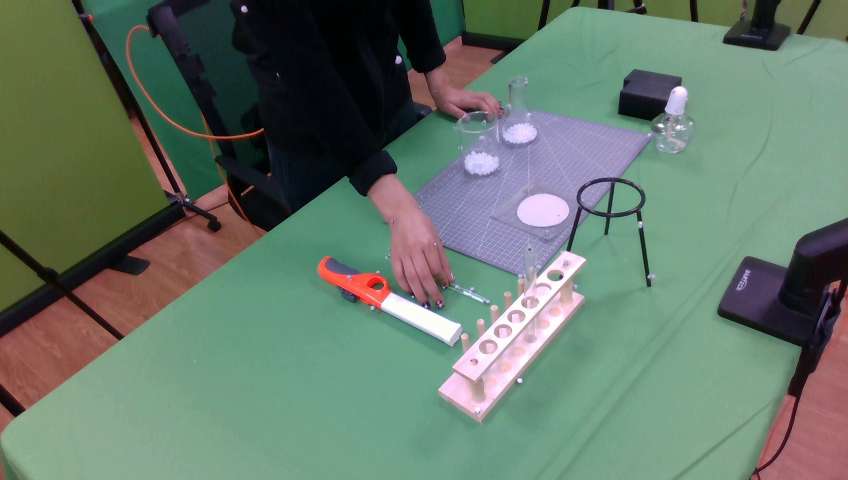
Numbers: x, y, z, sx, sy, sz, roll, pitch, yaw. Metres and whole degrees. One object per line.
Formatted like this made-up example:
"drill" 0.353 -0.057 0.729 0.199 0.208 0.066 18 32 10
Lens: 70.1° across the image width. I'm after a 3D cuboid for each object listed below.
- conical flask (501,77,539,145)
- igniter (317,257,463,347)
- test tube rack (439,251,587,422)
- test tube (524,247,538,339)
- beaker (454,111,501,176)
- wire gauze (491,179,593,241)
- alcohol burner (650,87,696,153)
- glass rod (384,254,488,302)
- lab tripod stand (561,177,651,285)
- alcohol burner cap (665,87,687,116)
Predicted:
"conical flask" 0.183 -0.250 1.163 0.075 0.122 0.075 -6 40 5
"igniter" -0.061 0.085 0.891 0.274 0.025 0.057 23 59 33
"test tube rack" 0.118 0.111 0.780 0.066 0.085 0.243 26 51 34
"test tube" 0.133 0.070 0.749 0.017 0.151 0.017 -5 38 4
"beaker" 0.101 -0.173 1.106 0.084 0.101 0.073 -5 40 6
"wire gauze" 0.198 -0.051 1.014 0.125 0.011 0.120 -38 48 -27
"alcohol burner" 0.448 -0.217 1.084 0.078 0.119 0.077 -6 38 5
"glass rod" 0.014 0.055 0.926 0.198 0.008 0.008 23 50 32
"lab tripod stand" 0.263 -0.014 0.864 0.148 0.132 0.147 -7 38 6
"alcohol burner cap" 0.445 -0.244 1.060 0.034 0.048 0.033 -2 45 3
